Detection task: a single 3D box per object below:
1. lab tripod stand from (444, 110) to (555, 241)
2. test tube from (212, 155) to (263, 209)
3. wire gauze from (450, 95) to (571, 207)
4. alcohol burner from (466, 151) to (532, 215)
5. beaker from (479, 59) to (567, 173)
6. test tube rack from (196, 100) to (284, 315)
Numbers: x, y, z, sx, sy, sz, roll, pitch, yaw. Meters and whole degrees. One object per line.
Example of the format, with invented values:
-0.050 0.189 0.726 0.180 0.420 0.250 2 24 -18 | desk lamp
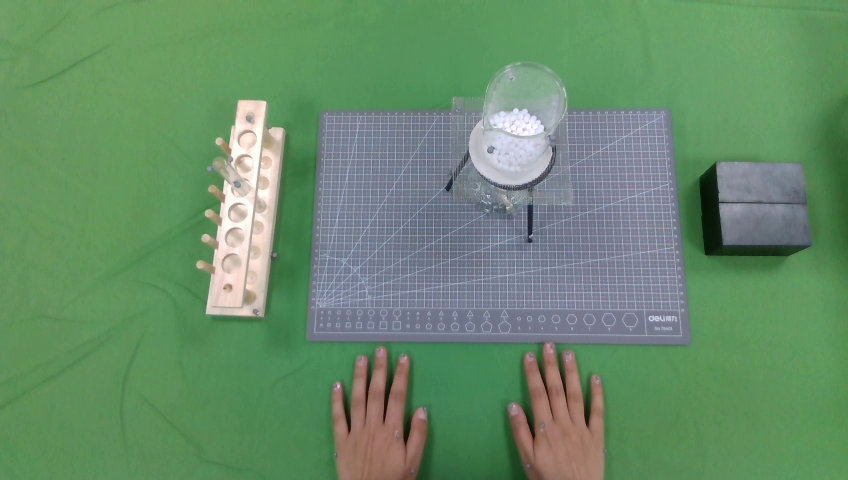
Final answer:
0.095 -0.082 0.692 0.148 0.132 0.147 -1 74 3 | lab tripod stand
-0.203 -0.061 0.672 0.017 0.151 0.017 0 77 0 | test tube
0.089 -0.095 0.627 0.125 0.011 0.121 2 76 0 | wire gauze
0.089 -0.072 0.700 0.078 0.119 0.077 0 75 0 | alcohol burner
0.088 -0.111 0.582 0.084 0.101 0.073 -33 77 -7 | beaker
-0.221 -0.037 0.718 0.067 0.085 0.241 2 76 3 | test tube rack
